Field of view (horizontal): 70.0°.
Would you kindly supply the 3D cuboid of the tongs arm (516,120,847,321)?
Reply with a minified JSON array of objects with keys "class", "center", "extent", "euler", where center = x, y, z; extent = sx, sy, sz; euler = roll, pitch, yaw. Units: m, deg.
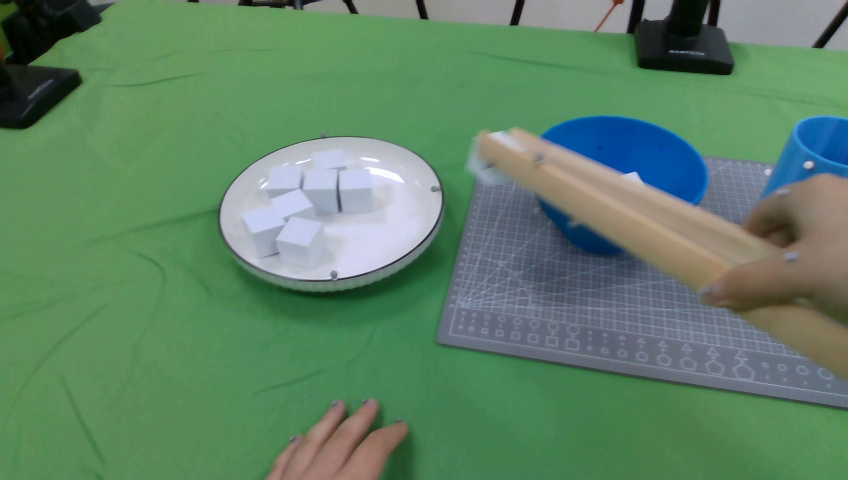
[{"class":"tongs arm","center":[0.184,-0.001,0.381],"extent":[0.028,0.028,0.383],"euler":[-7,32,-36]}]

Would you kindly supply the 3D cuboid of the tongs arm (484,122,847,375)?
[{"class":"tongs arm","center":[0.164,0.003,0.367],"extent":[0.051,0.027,0.380],"euler":[-7,33,-31]}]

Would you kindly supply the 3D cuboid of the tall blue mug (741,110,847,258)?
[{"class":"tall blue mug","center":[0.350,-0.042,0.524],"extent":[0.106,0.109,0.077],"euler":[16,47,17]}]

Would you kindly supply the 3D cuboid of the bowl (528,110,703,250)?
[{"class":"bowl","center":[0.164,-0.045,0.552],"extent":[0.151,0.077,0.150],"euler":[0,44,1]}]

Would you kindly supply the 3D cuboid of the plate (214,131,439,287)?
[{"class":"plate","center":[-0.089,-0.030,0.574],"extent":[0.209,0.038,0.207],"euler":[0,45,0]}]
